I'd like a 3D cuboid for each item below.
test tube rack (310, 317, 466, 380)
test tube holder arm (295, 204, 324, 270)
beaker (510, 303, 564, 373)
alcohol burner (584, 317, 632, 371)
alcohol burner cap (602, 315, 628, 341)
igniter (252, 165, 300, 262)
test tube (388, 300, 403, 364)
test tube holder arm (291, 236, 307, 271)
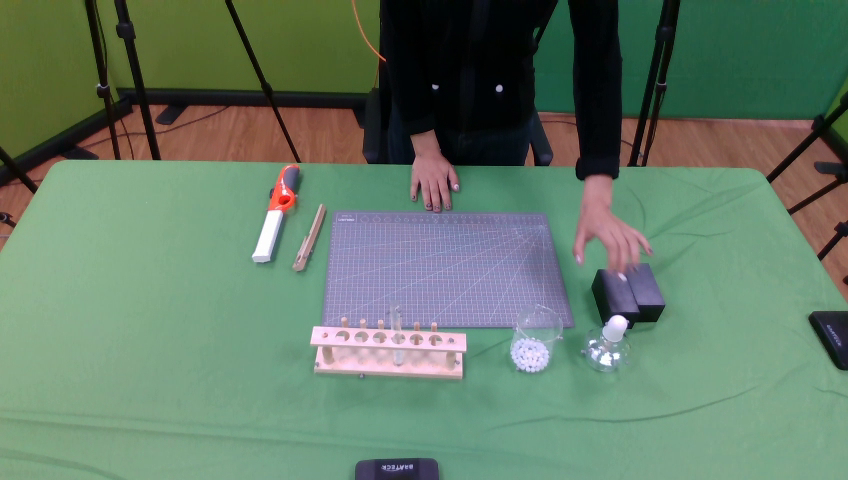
[{"bbox_3d":[-0.056,0.171,0.986,0.242,0.085,0.066,3,46,-1],"label":"test tube rack"},{"bbox_3d":[-0.223,-0.008,1.192,0.013,0.015,0.177,-18,38,26],"label":"test tube holder arm"},{"bbox_3d":[0.182,0.164,1.000,0.074,0.101,0.083,2,45,-1],"label":"beaker"},{"bbox_3d":[0.307,0.163,0.999,0.078,0.120,0.077,1,48,-1],"label":"alcohol burner"},{"bbox_3d":[0.309,0.138,0.973,0.034,0.048,0.033,2,53,-3],"label":"alcohol burner cap"},{"bbox_3d":[-0.298,-0.063,1.234,0.057,0.025,0.275,-2,45,7],"label":"igniter"},{"bbox_3d":[-0.043,0.146,0.942,0.017,0.151,0.017,-1,44,1],"label":"test tube"},{"bbox_3d":[-0.234,0.024,1.163,0.010,0.015,0.087,-17,38,28],"label":"test tube holder arm"}]
